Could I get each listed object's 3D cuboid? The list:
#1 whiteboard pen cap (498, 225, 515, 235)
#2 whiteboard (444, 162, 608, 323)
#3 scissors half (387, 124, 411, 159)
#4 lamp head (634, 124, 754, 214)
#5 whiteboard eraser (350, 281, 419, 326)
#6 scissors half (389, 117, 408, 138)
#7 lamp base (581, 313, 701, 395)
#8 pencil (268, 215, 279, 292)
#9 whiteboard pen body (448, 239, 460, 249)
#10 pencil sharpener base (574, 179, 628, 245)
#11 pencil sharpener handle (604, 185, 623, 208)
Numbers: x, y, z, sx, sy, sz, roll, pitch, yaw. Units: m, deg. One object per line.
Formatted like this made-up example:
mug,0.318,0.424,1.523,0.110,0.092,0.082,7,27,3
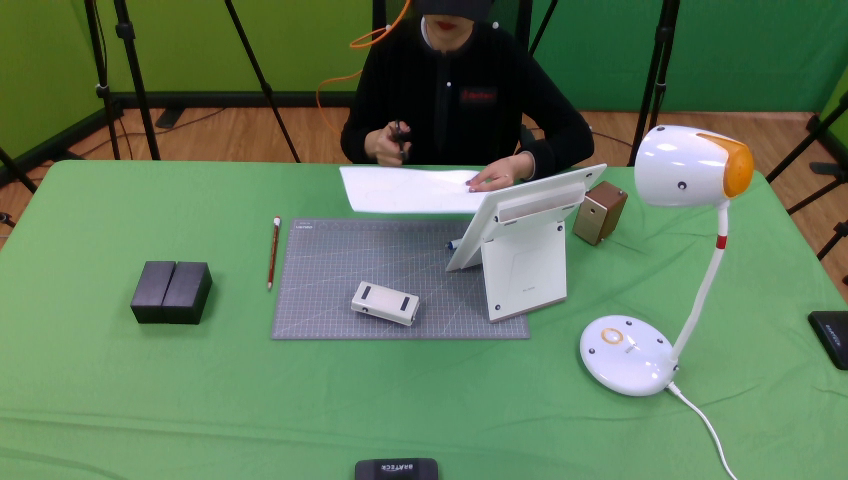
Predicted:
whiteboard pen cap,0.166,-0.019,1.223,0.033,0.018,0.018,-13,48,-19
whiteboard,0.186,0.025,1.029,0.217,0.306,0.143,-14,68,-18
scissors half,-0.052,-0.207,1.258,0.013,0.176,0.040,-9,75,12
lamp head,0.351,-0.089,0.775,0.112,0.113,0.122,-30,30,-28
whiteboard eraser,-0.069,0.113,1.065,0.112,0.042,0.055,14,45,9
scissors half,-0.056,-0.230,1.258,0.013,0.040,0.174,-14,15,12
lamp base,0.361,0.144,0.972,0.178,0.181,0.160,34,53,23
pencil,-0.290,0.022,1.164,0.012,0.012,0.192,-2,48,-6
whiteboard pen body,0.113,-0.006,1.203,0.141,0.017,0.017,-15,49,-17
pencil sharpener base,0.355,-0.057,1.217,0.076,0.107,0.061,-34,56,-31
pencil sharpener handle,0.390,-0.092,1.235,0.030,0.068,0.036,-34,69,-31
